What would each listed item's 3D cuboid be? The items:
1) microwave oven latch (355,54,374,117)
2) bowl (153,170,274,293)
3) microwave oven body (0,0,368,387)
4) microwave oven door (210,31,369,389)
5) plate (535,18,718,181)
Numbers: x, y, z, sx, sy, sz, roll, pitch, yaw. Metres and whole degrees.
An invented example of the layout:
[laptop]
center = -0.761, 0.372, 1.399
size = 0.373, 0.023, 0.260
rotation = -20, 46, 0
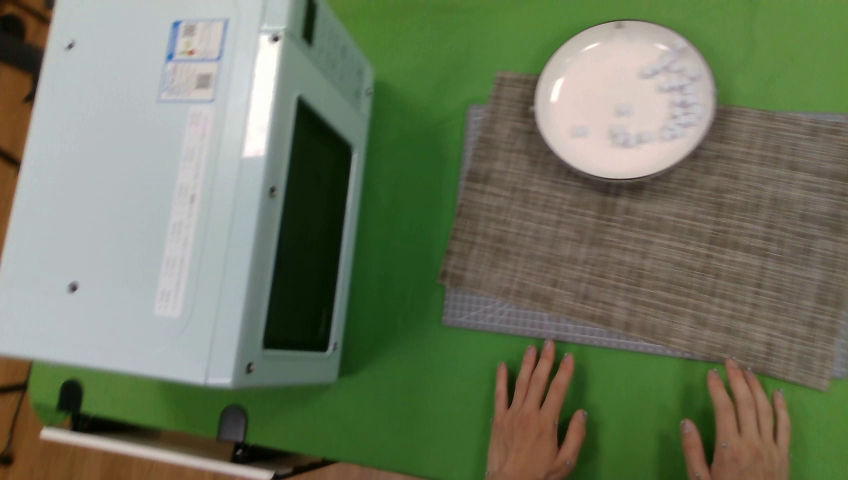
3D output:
[microwave oven latch]
center = -0.086, -0.209, 0.819
size = 0.030, 0.030, 0.079
rotation = 4, 81, 15
[bowl]
center = -0.246, -0.004, 0.753
size = 0.151, 0.077, 0.150
rotation = -3, 78, 13
[microwave oven body]
center = -0.273, -0.063, 0.738
size = 0.325, 0.262, 0.440
rotation = 4, 81, 15
[microwave oven door]
center = -0.138, -0.014, 0.689
size = 0.039, 0.245, 0.354
rotation = 3, 80, 16
[plate]
center = 0.243, -0.168, 0.740
size = 0.208, 0.038, 0.208
rotation = -3, 77, 14
